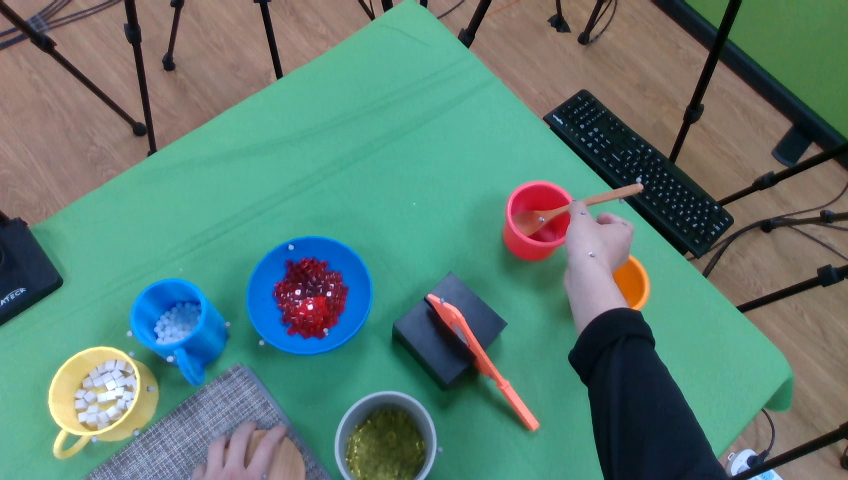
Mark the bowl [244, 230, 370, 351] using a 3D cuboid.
[{"bbox_3d":[-0.142,0.073,0.761,0.151,0.077,0.150,2,68,-4],"label":"bowl"}]

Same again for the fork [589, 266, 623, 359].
[{"bbox_3d":[0.226,0.084,0.748,0.028,0.019,0.206,22,24,-1],"label":"fork"}]

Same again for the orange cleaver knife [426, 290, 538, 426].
[{"bbox_3d":[0.070,0.145,0.747,0.012,0.077,0.212,-41,106,-18],"label":"orange cleaver knife"}]

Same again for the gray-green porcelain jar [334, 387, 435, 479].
[{"bbox_3d":[-0.045,0.227,0.679,0.106,0.127,0.105,2,67,-4],"label":"gray-green porcelain jar"}]

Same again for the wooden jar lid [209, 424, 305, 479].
[{"bbox_3d":[-0.192,0.270,0.704,0.108,0.021,0.107,2,67,-4],"label":"wooden jar lid"}]

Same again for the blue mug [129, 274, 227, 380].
[{"bbox_3d":[-0.285,0.110,0.719,0.082,0.106,0.115,-18,70,-11],"label":"blue mug"}]

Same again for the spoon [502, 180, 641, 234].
[{"bbox_3d":[0.190,-0.046,0.801,0.193,0.022,0.041,-19,56,36],"label":"spoon"}]

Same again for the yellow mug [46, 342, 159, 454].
[{"bbox_3d":[-0.379,0.187,0.701,0.100,0.064,0.130,27,69,7],"label":"yellow mug"}]
